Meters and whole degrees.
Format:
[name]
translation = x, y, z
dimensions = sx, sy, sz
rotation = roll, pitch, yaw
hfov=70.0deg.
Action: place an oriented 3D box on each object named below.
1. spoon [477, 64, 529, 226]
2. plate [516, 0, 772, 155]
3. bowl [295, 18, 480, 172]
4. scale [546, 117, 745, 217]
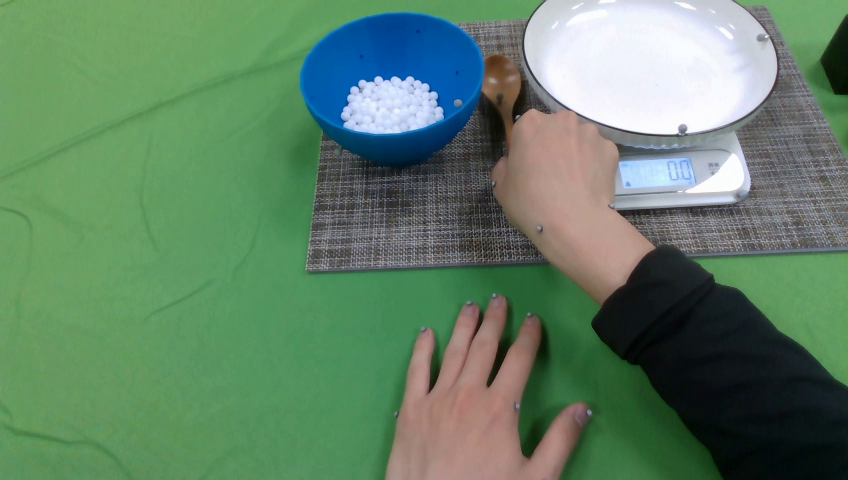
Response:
[spoon]
translation = 0.069, -0.089, 0.528
dimensions = 0.042, 0.022, 0.191
rotation = 10, 47, -18
[plate]
translation = 0.182, -0.147, 0.519
dimensions = 0.209, 0.038, 0.207
rotation = -1, 55, 2
[bowl]
translation = -0.027, -0.112, 0.520
dimensions = 0.151, 0.077, 0.150
rotation = -1, 55, 2
[scale]
translation = 0.183, -0.109, 0.533
dimensions = 0.148, 0.032, 0.199
rotation = -3, 55, 2
